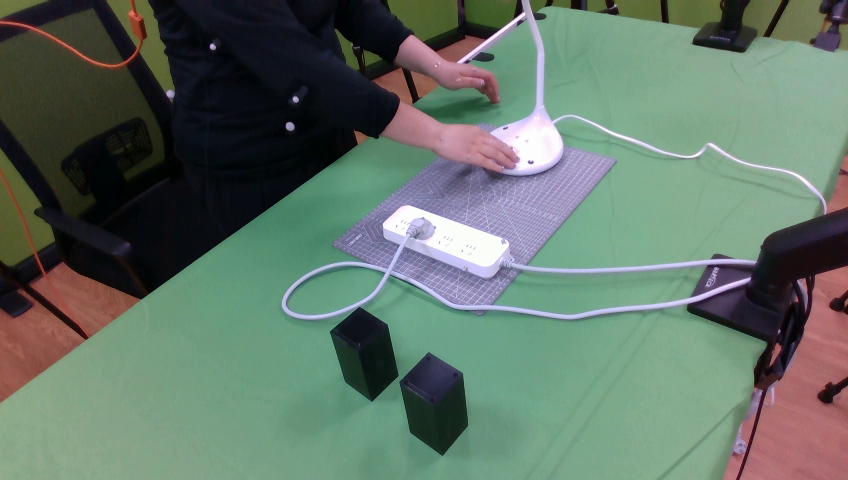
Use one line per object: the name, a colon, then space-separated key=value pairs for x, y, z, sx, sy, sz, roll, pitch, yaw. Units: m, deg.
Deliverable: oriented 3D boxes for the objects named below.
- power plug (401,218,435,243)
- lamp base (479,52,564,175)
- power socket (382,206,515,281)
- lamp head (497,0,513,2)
power plug: x=-0.015 y=-0.006 z=0.937 sx=0.073 sy=0.053 sz=0.035 roll=-37 pitch=47 yaw=-26
lamp base: x=0.181 y=-0.236 z=1.095 sx=0.159 sy=0.181 sz=0.179 roll=20 pitch=44 yaw=28
power socket: x=0.032 y=0.002 z=0.950 sx=0.225 sy=0.033 sz=0.072 roll=21 pitch=49 yaw=29
lamp head: x=0.120 y=-0.420 z=0.861 sx=0.111 sy=0.113 sz=0.123 roll=24 pitch=72 yaw=32
